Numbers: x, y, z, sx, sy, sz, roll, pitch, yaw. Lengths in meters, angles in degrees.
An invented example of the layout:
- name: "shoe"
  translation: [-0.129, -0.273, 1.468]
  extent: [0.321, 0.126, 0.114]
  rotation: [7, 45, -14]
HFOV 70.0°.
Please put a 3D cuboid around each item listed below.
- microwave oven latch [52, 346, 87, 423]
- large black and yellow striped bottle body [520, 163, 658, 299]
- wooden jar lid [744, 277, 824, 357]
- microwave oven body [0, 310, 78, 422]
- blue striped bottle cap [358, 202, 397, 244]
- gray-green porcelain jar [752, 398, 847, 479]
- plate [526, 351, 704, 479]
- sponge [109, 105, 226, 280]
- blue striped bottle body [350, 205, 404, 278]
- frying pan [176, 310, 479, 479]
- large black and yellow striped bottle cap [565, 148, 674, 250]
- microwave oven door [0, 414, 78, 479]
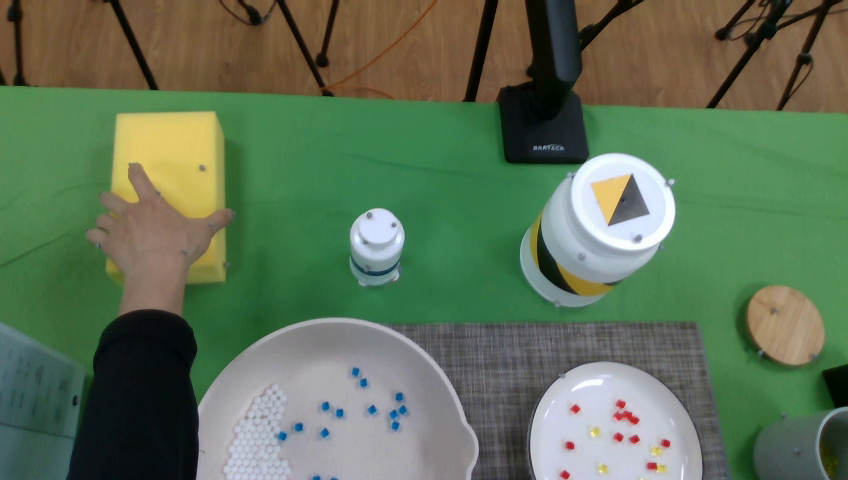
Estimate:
- name: "microwave oven latch"
  translation: [-0.380, 0.153, 0.641]
  extent: [0.030, 0.029, 0.078]
  rotation: [3, 69, -7]
- name: "large black and yellow striped bottle body"
  translation: [0.199, -0.014, 0.725]
  extent: [0.131, 0.185, 0.130]
  rotation: [3, 68, -6]
- name: "wooden jar lid"
  translation: [0.475, 0.102, 0.805]
  extent: [0.108, 0.021, 0.107]
  rotation: [2, 70, -6]
- name: "microwave oven body"
  translation: [-0.510, 0.281, 0.471]
  extent: [0.327, 0.261, 0.438]
  rotation: [1, 70, -8]
- name: "blue striped bottle cap"
  translation: [-0.051, -0.019, 0.671]
  extent: [0.044, 0.021, 0.044]
  rotation: [2, 66, -5]
- name: "gray-green porcelain jar"
  translation: [0.452, 0.241, 0.692]
  extent: [0.106, 0.127, 0.105]
  rotation: [3, 68, -6]
- name: "plate"
  translation: [0.218, 0.236, 0.706]
  extent: [0.209, 0.038, 0.207]
  rotation: [2, 69, -6]
- name: "sponge"
  translation: [-0.309, -0.060, 0.740]
  extent: [0.118, 0.061, 0.205]
  rotation: [-5, 71, -9]
- name: "blue striped bottle body"
  translation: [-0.057, -0.001, 0.719]
  extent: [0.063, 0.121, 0.062]
  rotation: [3, 69, -6]
- name: "frying pan"
  translation: [-0.090, 0.313, 0.601]
  extent: [0.307, 0.103, 0.483]
  rotation: [-1, 61, -5]
- name: "large black and yellow striped bottle cap"
  translation: [0.208, -0.045, 0.645]
  extent: [0.115, 0.019, 0.114]
  rotation: [3, 67, -6]
- name: "microwave oven door"
  translation: [-0.363, 0.320, 0.470]
  extent: [0.039, 0.245, 0.353]
  rotation: [0, 69, -7]
